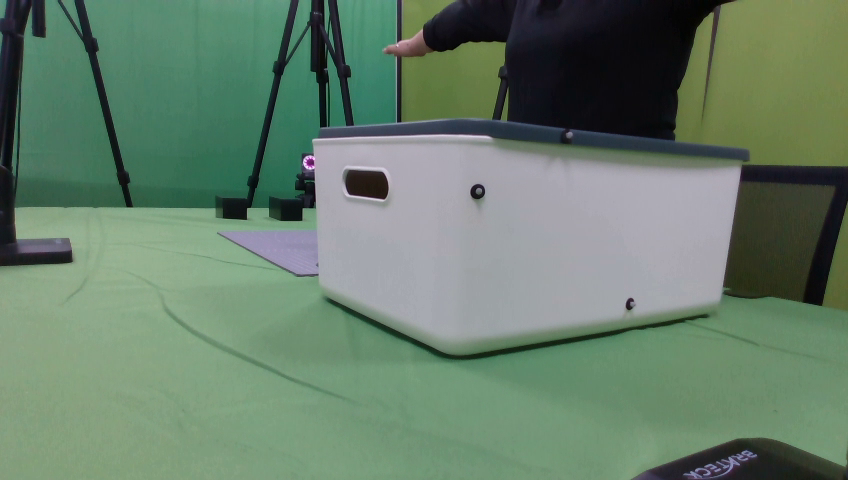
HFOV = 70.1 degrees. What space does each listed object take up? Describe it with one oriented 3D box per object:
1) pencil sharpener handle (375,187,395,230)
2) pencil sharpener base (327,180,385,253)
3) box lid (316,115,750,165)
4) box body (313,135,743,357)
[{"bbox_3d":[-0.059,-0.050,0.958,0.031,0.067,0.036,-1,13,-30],"label":"pencil sharpener handle"},{"bbox_3d":[-0.103,-0.037,0.932,0.077,0.107,0.061,-1,7,-30],"label":"pencil sharpener base"},{"bbox_3d":[0.106,-0.089,0.593,0.374,0.015,0.262,-1,6,-35],"label":"box lid"},{"bbox_3d":[0.099,-0.011,0.597,0.366,0.160,0.253,-2,8,-34],"label":"box body"}]
